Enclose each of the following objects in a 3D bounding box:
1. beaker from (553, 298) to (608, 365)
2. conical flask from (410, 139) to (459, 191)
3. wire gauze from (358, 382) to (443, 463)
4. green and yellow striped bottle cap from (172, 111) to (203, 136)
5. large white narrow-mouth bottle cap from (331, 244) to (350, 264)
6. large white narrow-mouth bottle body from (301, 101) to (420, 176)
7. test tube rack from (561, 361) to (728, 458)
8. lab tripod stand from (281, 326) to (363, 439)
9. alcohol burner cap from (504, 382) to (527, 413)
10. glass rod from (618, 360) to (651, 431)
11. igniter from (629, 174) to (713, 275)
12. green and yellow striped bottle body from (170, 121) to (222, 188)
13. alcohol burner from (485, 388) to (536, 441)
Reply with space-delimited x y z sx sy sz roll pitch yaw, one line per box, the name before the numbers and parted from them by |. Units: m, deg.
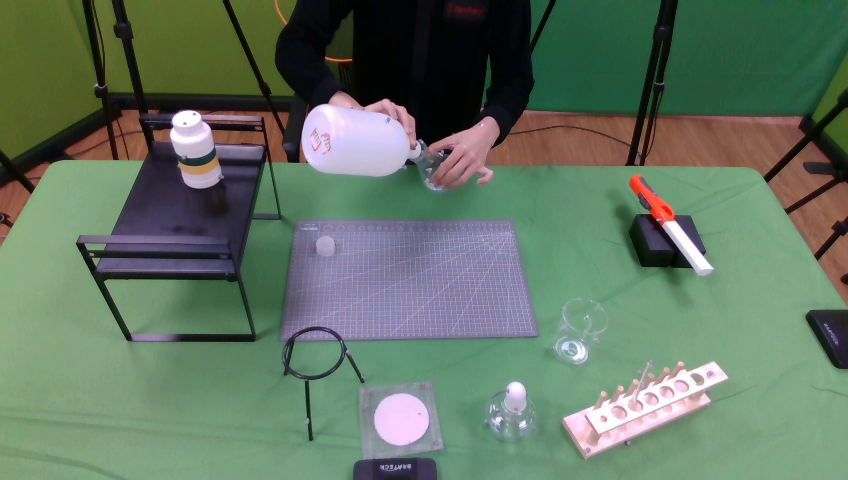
beaker | 0.260 0.154 1.015 0.073 0.101 0.084 37 54 27
conical flask | 0.009 -0.137 1.071 0.075 0.122 0.075 -6 74 22
wire gauze | -0.039 0.276 0.937 0.121 0.011 0.124 -4 47 -7
green and yellow striped bottle cap | -0.374 -0.185 0.957 0.045 0.020 0.045 4 45 -3
large white narrow-mouth bottle cap | -0.160 0.026 1.161 0.038 0.024 0.037 4 46 -4
large white narrow-mouth bottle body | -0.087 -0.152 0.950 0.195 0.102 0.101 3 39 -42
test tube rack | 0.341 0.248 0.940 0.243 0.085 0.066 -15 49 -18
lab tripod stand | -0.166 0.203 0.913 0.148 0.132 0.147 1 47 -1
alcohol burner cap | 0.133 0.225 0.877 0.034 0.048 0.033 -4 47 5
glass rod | 0.298 0.227 0.865 0.008 0.201 0.008 -1 47 2
igniter | 0.481 -0.040 1.202 0.057 0.025 0.274 -2 46 -21
green and yellow striped bottle body | -0.375 -0.149 0.995 0.063 0.120 0.063 2 46 -2
alcohol burner | 0.131 0.249 0.904 0.078 0.120 0.077 1 48 -1
